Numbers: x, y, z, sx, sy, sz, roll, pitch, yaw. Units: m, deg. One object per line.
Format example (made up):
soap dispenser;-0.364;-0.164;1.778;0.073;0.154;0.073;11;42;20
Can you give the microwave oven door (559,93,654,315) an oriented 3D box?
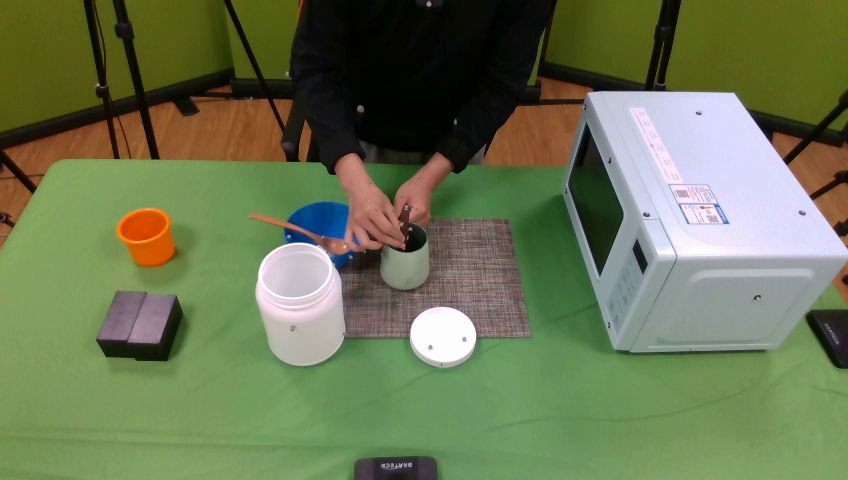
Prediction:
microwave oven door;0.327;-0.074;1.123;0.039;0.245;0.353;-1;46;-5

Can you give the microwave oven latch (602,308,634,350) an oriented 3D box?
microwave oven latch;0.332;0.153;1.044;0.030;0.029;0.078;-1;45;-5

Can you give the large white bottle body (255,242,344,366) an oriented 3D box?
large white bottle body;-0.196;0.102;0.967;0.131;0.185;0.130;2;49;-2

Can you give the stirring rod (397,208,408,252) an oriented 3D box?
stirring rod;-0.039;0.010;1.054;0.014;0.177;0.006;17;46;10

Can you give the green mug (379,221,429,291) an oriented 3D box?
green mug;-0.044;0.020;1.116;0.092;0.105;0.124;-20;50;-22

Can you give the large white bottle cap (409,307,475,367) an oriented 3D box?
large white bottle cap;0.031;0.165;1.041;0.115;0.018;0.114;2;47;-2

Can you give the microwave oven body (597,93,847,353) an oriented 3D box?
microwave oven body;0.475;-0.041;1.110;0.326;0.261;0.438;-1;45;-4

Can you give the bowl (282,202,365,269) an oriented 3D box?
bowl;-0.186;0.006;1.136;0.151;0.077;0.150;3;46;-2

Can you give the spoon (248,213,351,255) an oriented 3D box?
spoon;-0.228;-0.015;1.113;0.194;0.022;0.041;23;40;-15
